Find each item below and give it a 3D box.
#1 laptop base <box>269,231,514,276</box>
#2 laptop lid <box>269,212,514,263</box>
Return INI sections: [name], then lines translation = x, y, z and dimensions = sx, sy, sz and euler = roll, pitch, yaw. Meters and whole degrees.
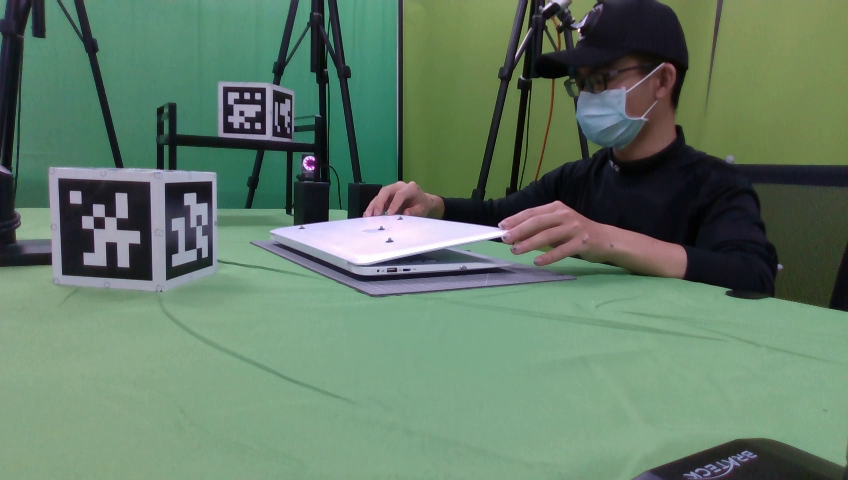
[laptop base]
translation = -0.066, 0.017, 0.893
dimensions = 0.237, 0.023, 0.352
euler = 1, 6, -32
[laptop lid]
translation = -0.065, -0.013, 0.889
dimensions = 0.243, 0.013, 0.355
euler = -9, 11, -28
